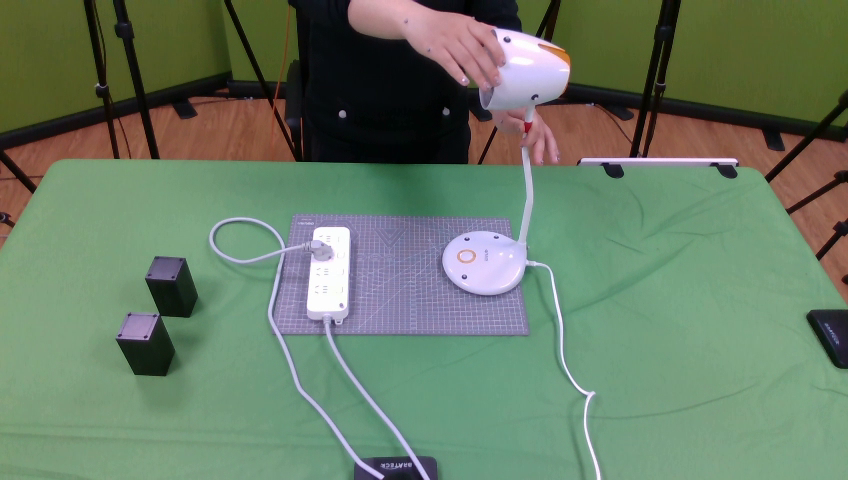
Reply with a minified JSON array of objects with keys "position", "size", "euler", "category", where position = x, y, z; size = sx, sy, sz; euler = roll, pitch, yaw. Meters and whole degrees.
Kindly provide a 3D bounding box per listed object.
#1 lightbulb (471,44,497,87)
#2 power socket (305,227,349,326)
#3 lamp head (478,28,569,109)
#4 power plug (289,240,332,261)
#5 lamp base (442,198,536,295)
[{"position":[0.121,-0.248,0.869],"size":[0.108,0.060,0.059],"euler":[6,45,-3],"category":"lightbulb"},{"position":[-0.177,0.059,1.115],"size":[0.072,0.033,0.225],"euler":[-1,46,-4],"category":"power socket"},{"position":[0.144,-0.239,0.873],"size":[0.123,0.113,0.111],"euler":[5,45,-12],"category":"lamp head"},{"position":[-0.207,0.022,1.123],"size":[0.072,0.053,0.035],"euler":[6,44,6],"category":"power plug"},{"position":[0.130,-0.012,1.105],"size":[0.179,0.181,0.159],"euler":[-1,46,-9],"category":"lamp base"}]
